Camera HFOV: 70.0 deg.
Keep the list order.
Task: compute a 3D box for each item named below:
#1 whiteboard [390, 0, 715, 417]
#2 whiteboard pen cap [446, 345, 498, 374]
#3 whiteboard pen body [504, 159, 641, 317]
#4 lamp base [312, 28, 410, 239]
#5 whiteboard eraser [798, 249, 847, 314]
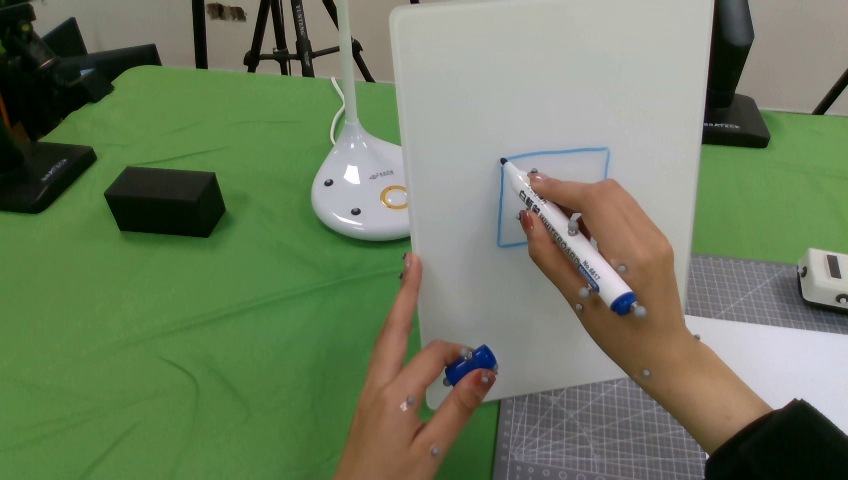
[{"bbox_3d":[0.088,-0.039,0.499,0.217,0.307,0.142,-8,23,-6],"label":"whiteboard"},{"bbox_3d":[0.032,0.079,0.398,0.033,0.018,0.018,-1,34,40],"label":"whiteboard pen cap"},{"bbox_3d":[0.084,-0.008,0.372,0.017,0.017,0.139,-17,50,-18],"label":"whiteboard pen body"},{"bbox_3d":[-0.056,-0.119,0.642,0.161,0.182,0.177,-28,46,-27],"label":"lamp base"},{"bbox_3d":[0.405,0.045,0.550,0.112,0.042,0.055,11,42,14],"label":"whiteboard eraser"}]
